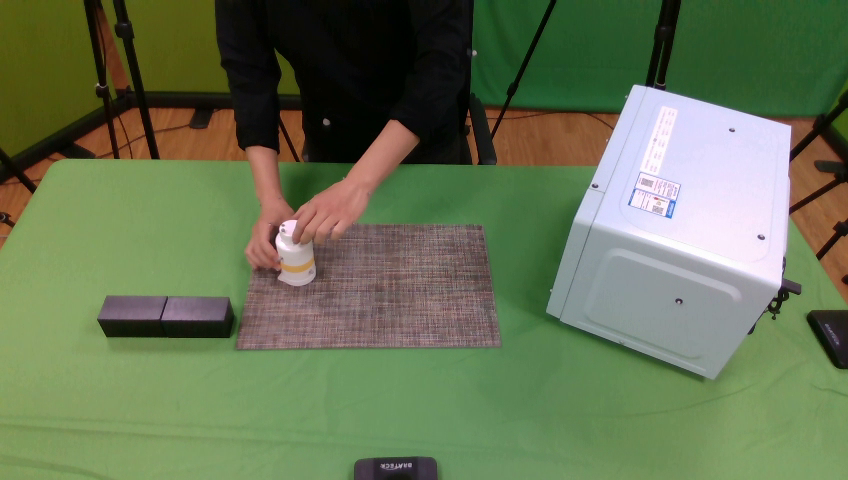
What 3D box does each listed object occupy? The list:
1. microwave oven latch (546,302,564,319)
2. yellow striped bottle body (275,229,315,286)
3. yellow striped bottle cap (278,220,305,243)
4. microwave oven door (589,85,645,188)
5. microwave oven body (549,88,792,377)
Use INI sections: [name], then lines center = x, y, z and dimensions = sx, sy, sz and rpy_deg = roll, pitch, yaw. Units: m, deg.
[microwave oven latch]
center = 0.242, 0.102, 1.081
dimensions = 0.030, 0.029, 0.079
rpy_deg = 22, 48, 17
[yellow striped bottle body]
center = -0.231, 0.022, 1.083
dimensions = 0.063, 0.121, 0.062
rpy_deg = 2, 46, -2
[yellow striped bottle cap]
center = -0.228, -0.015, 1.045
dimensions = 0.044, 0.019, 0.044
rpy_deg = 1, 42, -1
[microwave oven door]
center = 0.341, -0.107, 1.148
dimensions = 0.039, 0.245, 0.354
rpy_deg = 20, 48, 15
[microwave oven body]
center = 0.456, -0.028, 1.088
dimensions = 0.325, 0.261, 0.440
rpy_deg = 20, 47, 16
